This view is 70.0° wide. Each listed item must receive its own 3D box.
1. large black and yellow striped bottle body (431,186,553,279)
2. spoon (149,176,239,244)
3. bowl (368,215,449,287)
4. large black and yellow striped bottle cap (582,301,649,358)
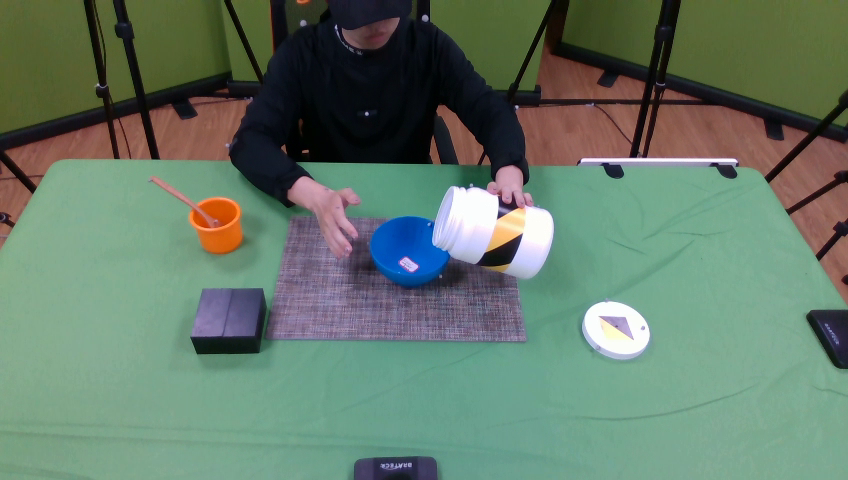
[{"bbox_3d":[0.116,-0.017,1.053,0.184,0.131,0.130,17,45,-10],"label":"large black and yellow striped bottle body"},{"bbox_3d":[-0.427,-0.057,1.132,0.021,0.195,0.041,-27,31,33],"label":"spoon"},{"bbox_3d":[-0.028,0.033,1.120,0.151,0.077,0.150,2,46,-2],"label":"bowl"},{"bbox_3d":[0.340,0.157,1.077,0.115,0.019,0.114,1,47,-1],"label":"large black and yellow striped bottle cap"}]
